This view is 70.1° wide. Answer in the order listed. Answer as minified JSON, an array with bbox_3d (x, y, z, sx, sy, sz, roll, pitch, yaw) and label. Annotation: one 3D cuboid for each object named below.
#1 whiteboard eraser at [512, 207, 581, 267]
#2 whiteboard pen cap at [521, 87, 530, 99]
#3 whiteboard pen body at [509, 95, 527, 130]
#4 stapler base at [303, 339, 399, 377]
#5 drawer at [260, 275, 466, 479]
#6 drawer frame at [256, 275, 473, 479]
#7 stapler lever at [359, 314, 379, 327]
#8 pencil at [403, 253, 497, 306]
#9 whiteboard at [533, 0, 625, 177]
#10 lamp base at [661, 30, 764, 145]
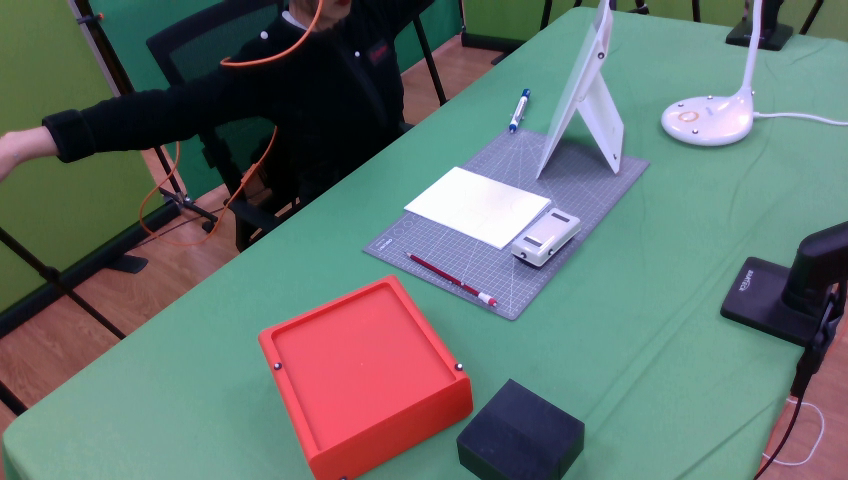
[{"bbox_3d":[0.189,-0.003,0.930,0.055,0.042,0.113,27,52,36],"label":"whiteboard eraser"},{"bbox_3d":[0.218,-0.313,1.301,0.018,0.018,0.033,7,47,18],"label":"whiteboard pen cap"},{"bbox_3d":[0.199,-0.273,1.261,0.017,0.017,0.140,7,44,19],"label":"whiteboard pen body"},{"bbox_3d":[-0.099,0.150,0.806,0.130,0.024,0.041,-12,25,1],"label":"stapler base"},{"bbox_3d":[-0.080,0.163,0.760,0.195,0.073,0.210,-22,42,-16],"label":"drawer"},{"bbox_3d":[-0.078,0.164,0.756,0.202,0.083,0.211,-23,43,-17],"label":"drawer frame"},{"bbox_3d":[-0.106,0.127,0.792,0.118,0.040,0.026,-14,26,2],"label":"stapler lever"},{"bbox_3d":[0.034,0.056,0.914,0.192,0.012,0.012,27,52,38],"label":"pencil"},{"bbox_3d":[0.321,-0.258,1.049,0.144,0.306,0.217,20,45,4],"label":"whiteboard"},{"bbox_3d":[0.535,-0.287,1.096,0.179,0.181,0.159,-10,40,-4],"label":"lamp base"}]
